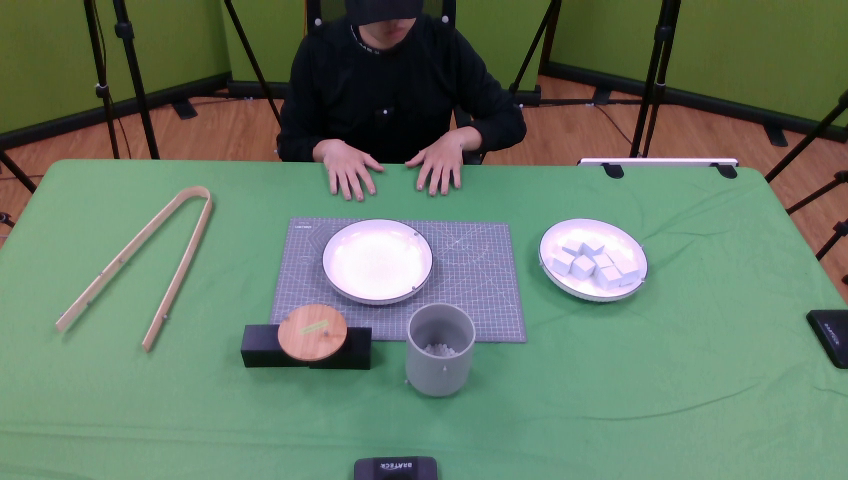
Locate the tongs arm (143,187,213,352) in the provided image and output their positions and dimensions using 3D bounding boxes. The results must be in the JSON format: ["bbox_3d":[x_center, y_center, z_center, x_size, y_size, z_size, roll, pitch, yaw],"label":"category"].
[{"bbox_3d":[-0.449,0.039,1.122,0.028,0.028,0.385,2,46,1],"label":"tongs arm"}]

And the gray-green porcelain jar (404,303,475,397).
[{"bbox_3d":[0.022,0.178,0.956,0.106,0.127,0.105,2,46,-2],"label":"gray-green porcelain jar"}]

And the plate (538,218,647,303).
[{"bbox_3d":[0.322,0.042,1.171,0.208,0.039,0.206,2,46,-2],"label":"plate"}]

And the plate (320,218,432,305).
[{"bbox_3d":[-0.089,0.044,1.134,0.209,0.038,0.208,3,46,-2],"label":"plate"}]

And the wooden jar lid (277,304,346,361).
[{"bbox_3d":[-0.179,0.150,0.972,0.108,0.021,0.107,2,45,-2],"label":"wooden jar lid"}]

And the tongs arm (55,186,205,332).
[{"bbox_3d":[-0.530,0.022,1.126,0.051,0.026,0.383,15,46,8],"label":"tongs arm"}]
